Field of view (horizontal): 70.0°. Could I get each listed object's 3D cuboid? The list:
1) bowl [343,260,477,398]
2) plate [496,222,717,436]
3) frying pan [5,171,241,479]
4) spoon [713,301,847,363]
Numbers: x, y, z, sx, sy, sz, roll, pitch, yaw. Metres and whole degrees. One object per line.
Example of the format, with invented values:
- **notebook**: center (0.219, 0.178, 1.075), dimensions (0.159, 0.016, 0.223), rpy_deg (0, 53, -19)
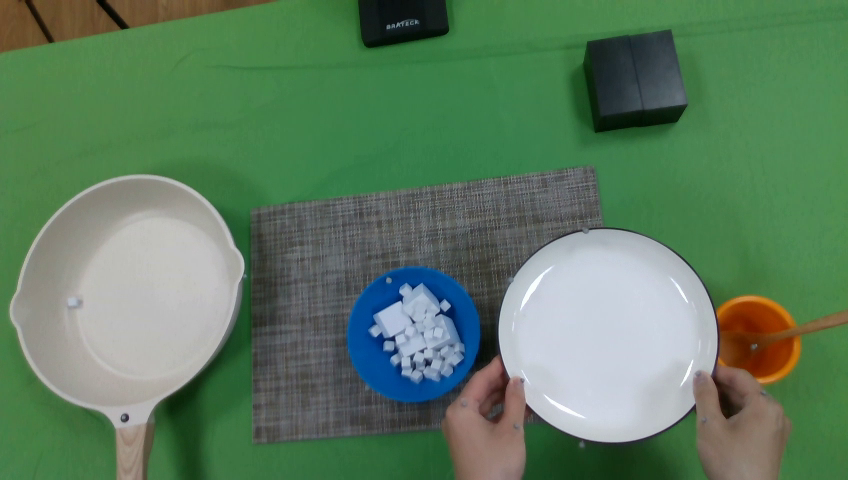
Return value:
- **bowl**: center (-0.011, 0.105, 0.700), dimensions (0.151, 0.077, 0.150), rpy_deg (-2, 78, 7)
- **plate**: center (0.177, 0.086, 0.603), dimensions (0.207, 0.039, 0.207), rpy_deg (-1, 83, 9)
- **frying pan**: center (-0.350, 0.155, 0.726), dimensions (0.306, 0.103, 0.484), rpy_deg (-11, 68, 6)
- **spoon**: center (0.372, 0.088, 0.619), dimensions (0.022, 0.194, 0.041), rpy_deg (-6, 71, -38)
